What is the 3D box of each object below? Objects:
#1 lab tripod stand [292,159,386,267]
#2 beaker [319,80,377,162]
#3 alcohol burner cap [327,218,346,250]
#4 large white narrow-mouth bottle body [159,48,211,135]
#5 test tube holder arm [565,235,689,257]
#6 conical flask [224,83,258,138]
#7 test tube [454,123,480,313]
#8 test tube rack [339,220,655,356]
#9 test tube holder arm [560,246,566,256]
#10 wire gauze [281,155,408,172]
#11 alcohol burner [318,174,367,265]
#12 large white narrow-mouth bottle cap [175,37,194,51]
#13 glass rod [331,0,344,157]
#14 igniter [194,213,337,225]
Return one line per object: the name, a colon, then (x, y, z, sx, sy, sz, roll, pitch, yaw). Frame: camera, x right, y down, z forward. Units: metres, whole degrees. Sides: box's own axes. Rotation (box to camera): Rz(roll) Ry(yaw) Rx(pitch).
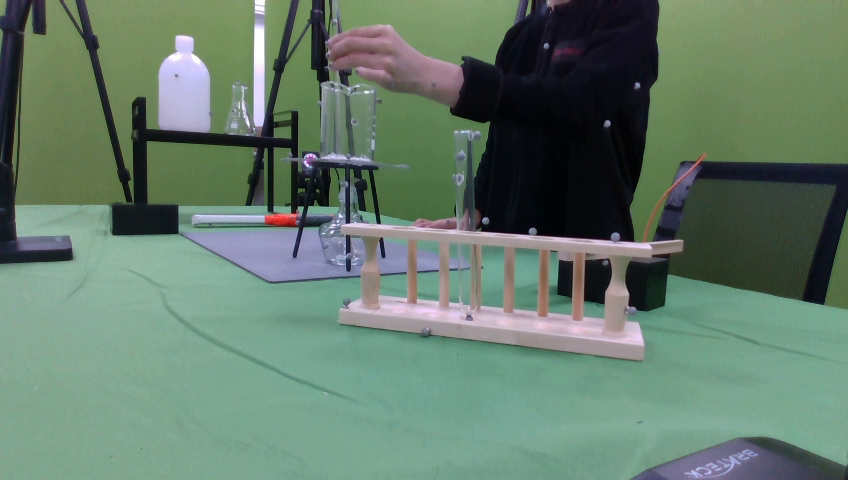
lab tripod stand: (-0.105, -0.039, 0.797, 0.148, 0.131, 0.148, 2, 5, 0)
beaker: (-0.098, -0.150, 0.777, 0.074, 0.100, 0.084, 1, 7, -7)
alcohol burner cap: (-0.132, -0.010, 0.927, 0.034, 0.048, 0.034, 3, 8, 0)
large white narrow-mouth bottle body: (-0.503, -0.322, 1.275, 0.102, 0.194, 0.102, 2, 7, 0)
test tube holder arm: (0.216, 0.006, 0.629, 0.179, 0.015, 0.013, -3, 11, -30)
conical flask: (-0.422, -0.299, 1.395, 0.075, 0.122, 0.075, 2, 7, 0)
test tube: (0.034, -0.016, 0.476, 0.017, 0.150, 0.017, -2, 9, 1)
test tube rack: (0.056, 0.032, 0.495, 0.242, 0.085, 0.067, 4, 7, 15)
test tube holder arm: (0.173, 0.007, 0.611, 0.088, 0.015, 0.010, -3, 11, -29)
wire gauze: (-0.104, -0.103, 0.785, 0.126, 0.011, 0.121, 1, 8, -39)
alcohol burner: (-0.100, -0.028, 0.790, 0.078, 0.119, 0.078, 0, 6, 0)
large white narrow-mouth bottle cap: (-0.501, -0.409, 1.264, 0.038, 0.024, 0.037, 2, 7, 0)
glass rod: (-0.110, -0.206, 0.773, 0.008, 0.199, 0.008, -1, 16, 1)
igniter: (-0.306, -0.042, 1.196, 0.278, 0.025, 0.057, -2, -2, -30)
